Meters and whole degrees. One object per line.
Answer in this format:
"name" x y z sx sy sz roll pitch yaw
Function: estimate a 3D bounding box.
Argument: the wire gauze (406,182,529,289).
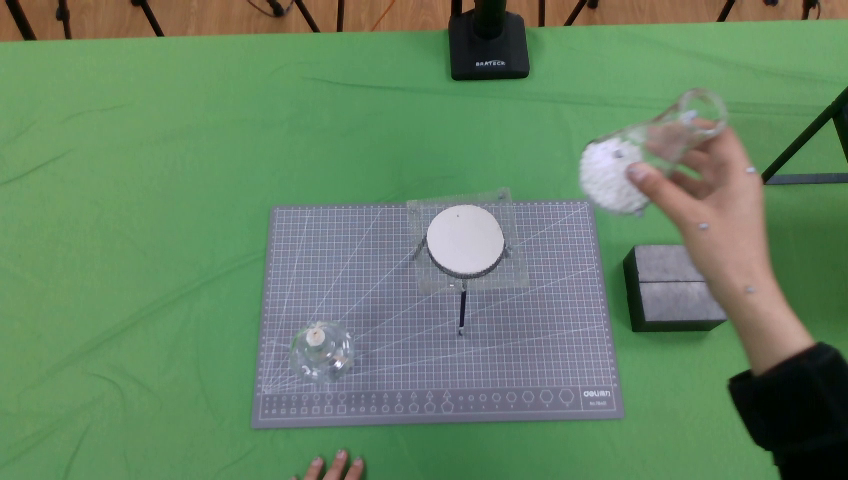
"wire gauze" 0.047 -0.005 0.679 0.125 0.011 0.120 -6 67 -4

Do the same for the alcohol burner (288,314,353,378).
"alcohol burner" -0.123 0.119 0.709 0.078 0.120 0.077 1 65 -2

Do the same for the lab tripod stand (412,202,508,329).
"lab tripod stand" 0.049 0.019 0.742 0.148 0.132 0.147 0 65 0

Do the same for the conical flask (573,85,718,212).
"conical flask" 0.175 -0.074 0.474 0.075 0.122 0.075 4 73 -12
